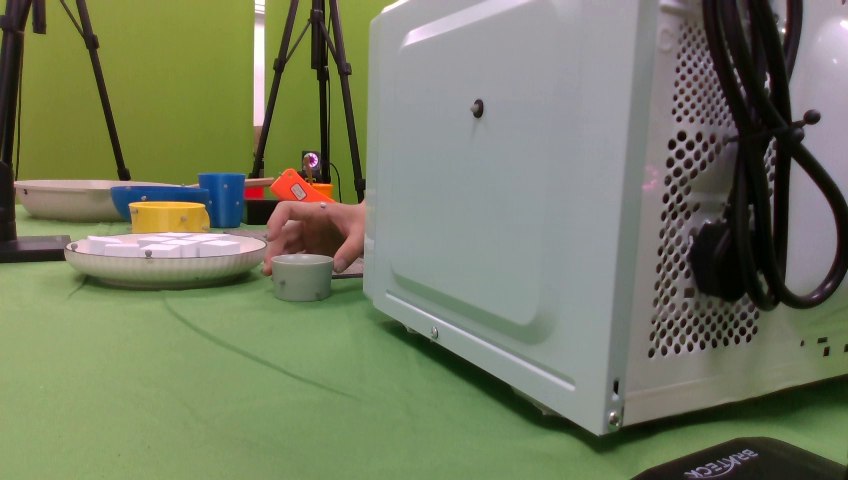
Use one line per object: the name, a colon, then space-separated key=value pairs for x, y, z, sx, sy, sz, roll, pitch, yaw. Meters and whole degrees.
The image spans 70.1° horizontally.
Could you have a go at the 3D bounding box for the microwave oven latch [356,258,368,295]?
microwave oven latch: x=-0.019 y=0.031 z=0.529 sx=0.079 sy=0.029 sz=0.030 roll=-1 pitch=7 yaw=-26

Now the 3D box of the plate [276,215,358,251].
plate: x=-0.126 y=-0.012 z=0.950 sx=0.209 sy=0.038 sz=0.209 roll=2 pitch=7 yaw=0

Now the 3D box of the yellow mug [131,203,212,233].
yellow mug: x=-0.356 y=-0.020 z=0.878 sx=0.099 sy=0.064 sz=0.131 roll=4 pitch=7 yaw=22

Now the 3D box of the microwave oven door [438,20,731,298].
microwave oven door: x=0.181 y=-0.076 z=0.618 sx=0.358 sy=0.243 sz=0.039 roll=-2 pitch=8 yaw=-28

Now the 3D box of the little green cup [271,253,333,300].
little green cup: x=-0.123 y=0.036 z=0.604 sx=0.061 sy=0.038 sz=0.061 roll=5 pitch=6 yaw=0

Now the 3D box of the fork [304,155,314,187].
fork: x=-0.268 y=-0.134 z=1.447 sx=0.028 sy=0.018 sz=0.207 roll=2 pitch=-36 yaw=-1

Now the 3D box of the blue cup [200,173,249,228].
blue cup: x=-0.380 y=-0.076 z=1.155 sx=0.093 sy=0.100 sz=0.092 roll=0 pitch=8 yaw=0

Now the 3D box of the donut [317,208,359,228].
donut: x=-0.118 y=-0.024 z=0.954 sx=0.099 sy=0.048 sz=0.099 roll=5 pitch=6 yaw=0

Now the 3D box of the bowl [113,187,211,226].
bowl: x=-0.436 y=-0.046 z=1.013 sx=0.151 sy=0.077 sz=0.151 roll=2 pitch=7 yaw=0

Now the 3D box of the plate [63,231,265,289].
plate: x=-0.288 y=0.021 z=0.687 sx=0.208 sy=0.039 sz=0.207 roll=2 pitch=8 yaw=0

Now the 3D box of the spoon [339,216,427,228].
spoon: x=-0.087 y=-0.041 z=1.268 sx=0.193 sy=0.021 sz=0.041 roll=4 pitch=24 yaw=13

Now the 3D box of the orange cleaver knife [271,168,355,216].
orange cleaver knife: x=-0.236 y=-0.084 z=1.333 sx=0.212 sy=0.077 sz=0.012 roll=31 pitch=-10 yaw=-32

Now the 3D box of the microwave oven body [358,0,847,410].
microwave oven body: x=0.210 y=-0.051 z=0.471 sx=0.444 sy=0.260 sz=0.324 roll=-1 pitch=7 yaw=-28

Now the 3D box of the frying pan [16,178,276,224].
frying pan: x=-0.554 y=-0.096 z=1.266 sx=0.490 sy=0.102 sz=0.305 roll=-10 pitch=13 yaw=-24
